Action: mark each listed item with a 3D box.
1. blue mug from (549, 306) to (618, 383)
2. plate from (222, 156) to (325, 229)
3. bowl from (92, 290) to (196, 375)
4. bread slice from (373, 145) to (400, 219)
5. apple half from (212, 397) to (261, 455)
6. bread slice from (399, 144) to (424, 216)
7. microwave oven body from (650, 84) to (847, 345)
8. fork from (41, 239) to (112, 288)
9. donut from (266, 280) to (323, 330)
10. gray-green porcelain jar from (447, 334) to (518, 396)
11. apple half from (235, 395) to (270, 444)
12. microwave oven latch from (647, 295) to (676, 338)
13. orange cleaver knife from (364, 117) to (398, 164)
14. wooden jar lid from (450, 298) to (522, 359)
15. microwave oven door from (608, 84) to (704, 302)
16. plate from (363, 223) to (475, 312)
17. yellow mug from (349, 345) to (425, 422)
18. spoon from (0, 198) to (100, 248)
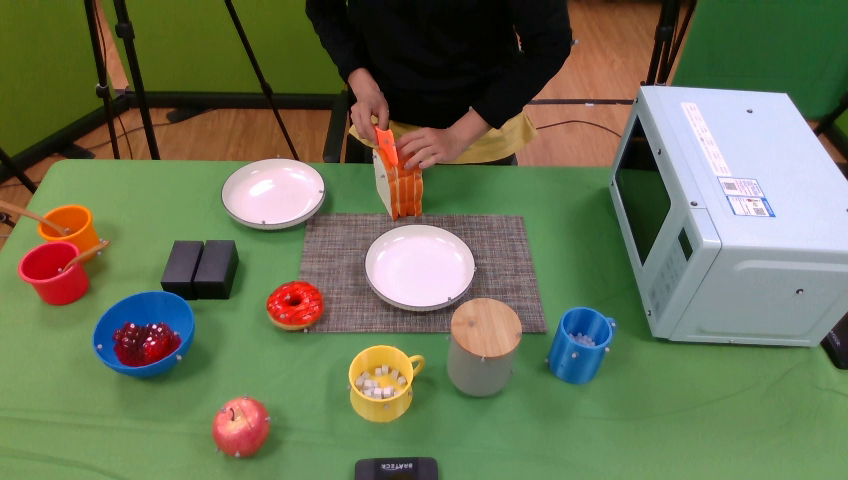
[{"bbox_3d":[0.269,0.167,0.997,0.116,0.106,0.082,-19,50,-21],"label":"blue mug"},{"bbox_3d":[-0.308,-0.095,1.251,0.209,0.038,0.208,2,46,-2],"label":"plate"},{"bbox_3d":[-0.436,0.161,0.971,0.151,0.077,0.150,2,46,-2],"label":"bowl"},{"bbox_3d":[-0.078,-0.125,1.232,0.018,0.135,0.106,-19,45,-14],"label":"bread slice"},{"bbox_3d":[-0.276,0.276,0.877,0.053,0.075,0.080,-29,58,-21],"label":"apple half"},{"bbox_3d":[-0.025,-0.129,1.240,0.019,0.132,0.104,-14,47,-16],"label":"bread slice"},{"bbox_3d":[0.569,-0.054,1.116,0.326,0.261,0.439,2,46,-1],"label":"microwave oven body"},{"bbox_3d":[-0.591,0.040,1.028,0.207,0.019,0.028,-27,37,29],"label":"fork"},{"bbox_3d":[-0.223,0.112,1.051,0.099,0.048,0.098,2,46,-2],"label":"donut"},{"bbox_3d":[0.091,0.178,0.960,0.106,0.127,0.105,2,46,-2],"label":"gray-green porcelain jar"},{"bbox_3d":[-0.245,0.260,0.893,0.033,0.082,0.081,-29,55,-22],"label":"apple half"},{"bbox_3d":[0.413,0.133,1.060,0.030,0.029,0.078,4,46,1],"label":"microwave oven latch"},{"bbox_3d":[-0.088,-0.203,1.223,0.012,0.077,0.210,-12,24,-16],"label":"orange cleaver knife"},{"bbox_3d":[0.093,0.135,0.914,0.108,0.021,0.107,2,48,-3],"label":"wooden jar lid"},{"bbox_3d":[0.424,-0.096,1.138,0.039,0.245,0.353,3,46,-1],"label":"microwave oven door"},{"bbox_3d":[-0.009,0.054,1.126,0.208,0.039,0.206,2,46,-2],"label":"plate"},{"bbox_3d":[-0.054,0.217,0.954,0.131,0.064,0.099,-24,52,-25],"label":"yellow mug"},{"bbox_3d":[-0.684,-0.035,1.092,0.021,0.195,0.041,-34,41,26],"label":"spoon"}]
